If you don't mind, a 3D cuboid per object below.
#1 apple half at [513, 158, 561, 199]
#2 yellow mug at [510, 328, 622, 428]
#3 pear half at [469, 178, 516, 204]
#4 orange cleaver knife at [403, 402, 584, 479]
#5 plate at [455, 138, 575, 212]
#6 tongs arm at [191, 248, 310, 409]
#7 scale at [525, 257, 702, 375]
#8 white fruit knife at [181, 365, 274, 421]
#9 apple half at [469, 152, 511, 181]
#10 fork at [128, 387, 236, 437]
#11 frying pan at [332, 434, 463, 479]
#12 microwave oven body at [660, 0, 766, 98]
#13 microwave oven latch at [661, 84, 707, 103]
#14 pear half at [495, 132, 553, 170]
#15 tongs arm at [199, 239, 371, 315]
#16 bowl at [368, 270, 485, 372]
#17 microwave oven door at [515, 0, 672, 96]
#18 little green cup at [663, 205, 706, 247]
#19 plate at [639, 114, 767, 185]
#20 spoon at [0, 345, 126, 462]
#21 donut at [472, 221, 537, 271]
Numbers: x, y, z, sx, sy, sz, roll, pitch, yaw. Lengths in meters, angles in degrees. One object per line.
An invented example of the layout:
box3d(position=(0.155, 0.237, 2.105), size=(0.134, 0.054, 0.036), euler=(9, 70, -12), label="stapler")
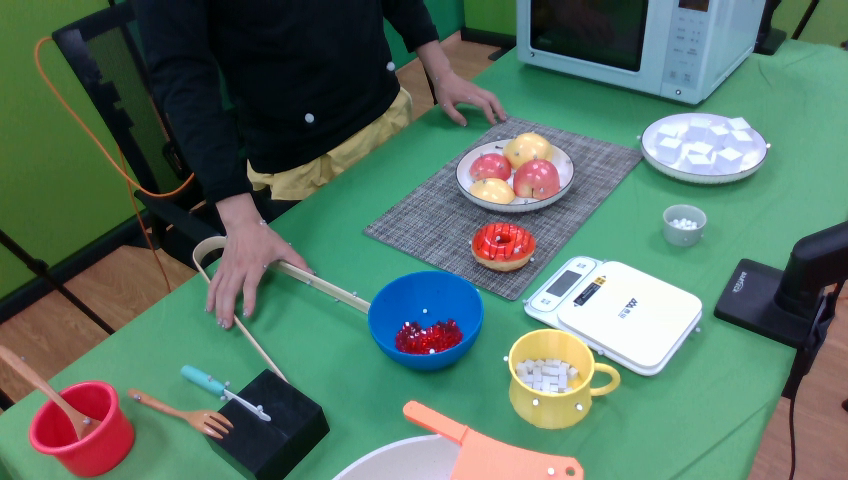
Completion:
box3d(position=(0.194, -0.111, 1.031), size=(0.080, 0.053, 0.075), euler=(12, 41, 26), label="apple half")
box3d(position=(0.168, 0.164, 0.722), size=(0.130, 0.064, 0.099), euler=(0, 40, 8), label="yellow mug")
box3d(position=(0.115, -0.090, 1.035), size=(0.087, 0.031, 0.071), euler=(28, 38, 31), label="pear half")
box3d(position=(0.062, 0.222, 0.609), size=(0.210, 0.012, 0.077), euler=(15, 48, 25), label="orange cleaver knife")
box3d(position=(0.159, -0.111, 1.063), size=(0.209, 0.038, 0.208), euler=(-4, 40, 4), label="plate")
box3d(position=(-0.263, 0.116, 0.877), size=(0.028, 0.028, 0.384), euler=(-37, 48, -18), label="tongs arm")
box3d(position=(0.254, 0.091, 0.821), size=(0.199, 0.032, 0.149), euler=(28, 51, 35), label="scale")
box3d(position=(-0.245, 0.187, 0.747), size=(0.205, 0.027, 0.016), euler=(9, 41, 40), label="white fruit knife")
box3d(position=(0.120, -0.139, 1.088), size=(0.081, 0.033, 0.081), euler=(0, 45, 0), label="apple half")
box3d(position=(-0.305, 0.207, 0.744), size=(0.206, 0.019, 0.028), euler=(3, 40, 36), label="fork")
box3d(position=(-0.089, 0.306, 0.564), size=(0.487, 0.103, 0.306), euler=(10, 41, 7), label="frying pan")
box3d(position=(0.472, -0.513, 1.317), size=(0.438, 0.261, 0.327), euler=(26, 51, 34), label="microwave oven body")
box3d(position=(0.517, -0.296, 1.204), size=(0.078, 0.029, 0.030), euler=(27, 52, 35), label="microwave oven latch")
box3d(position=(0.175, -0.168, 1.094), size=(0.109, 0.056, 0.076), euler=(16, 54, 30), label="pear half")
box3d(position=(-0.205, 0.066, 0.919), size=(0.382, 0.027, 0.051), euler=(22, 54, 31), label="tongs arm")
box3d(position=(0.007, 0.118, 0.791), size=(0.151, 0.077, 0.150), euler=(-5, 40, 4), label="bowl")
box3d(position=(0.343, -0.454, 1.259), size=(0.353, 0.245, 0.039), euler=(26, 51, 33), label="microwave oven door")
box3d(position=(0.396, -0.020, 0.926), size=(0.061, 0.039, 0.061), euler=(-4, 40, 4), label="little green cup")
box3d(position=(0.489, -0.157, 1.074), size=(0.207, 0.039, 0.206), euler=(-4, 40, 4), label="plate")
box3d(position=(-0.434, 0.192, 0.720), size=(0.194, 0.021, 0.042), euler=(47, 53, -7), label="spoon")
box3d(position=(0.123, 0.008, 0.923), size=(0.099, 0.048, 0.098), euler=(-3, 38, 3), label="donut")
